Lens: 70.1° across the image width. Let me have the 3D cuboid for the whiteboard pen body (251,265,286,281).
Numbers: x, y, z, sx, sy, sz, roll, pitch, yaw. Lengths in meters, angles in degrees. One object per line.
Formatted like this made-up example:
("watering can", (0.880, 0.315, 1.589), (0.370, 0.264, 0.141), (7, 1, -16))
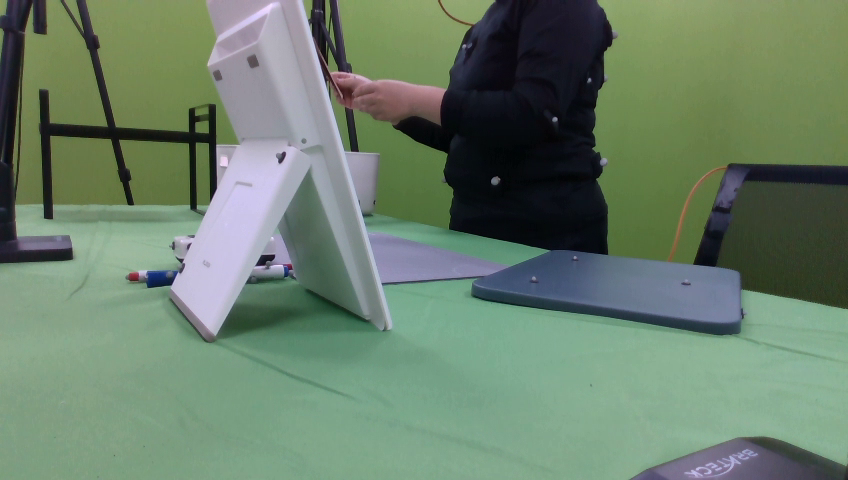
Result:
("whiteboard pen body", (-0.220, 0.039, 0.656), (0.141, 0.017, 0.017), (-2, 9, -31))

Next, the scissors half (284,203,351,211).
("scissors half", (-0.269, -0.081, 1.534), (0.176, 0.013, 0.040), (-6, 9, -24))

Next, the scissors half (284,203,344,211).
("scissors half", (-0.280, -0.083, 1.552), (0.040, 0.013, 0.176), (-1, 6, 45))

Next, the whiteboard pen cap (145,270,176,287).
("whiteboard pen cap", (-0.271, 0.039, 0.627), (0.033, 0.018, 0.018), (-3, 10, -33))

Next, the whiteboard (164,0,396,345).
("whiteboard", (-0.172, -0.053, 0.511), (0.144, 0.305, 0.216), (-23, 19, -26))

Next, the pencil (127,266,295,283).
("pencil", (-0.231, 0.037, 0.691), (0.195, 0.012, 0.012), (-2, 9, -34))

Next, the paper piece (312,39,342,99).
("paper piece", (-0.212, -0.380, 1.337), (0.004, 0.136, 0.135), (-26, 19, 2))

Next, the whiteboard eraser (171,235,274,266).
("whiteboard eraser", (-0.248, 0.014, 0.747), (0.113, 0.042, 0.055), (-1, 9, -32))

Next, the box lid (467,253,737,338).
("box lid", (0.234, 0.054, 0.736), (0.262, 0.015, 0.373), (7, 8, 26))

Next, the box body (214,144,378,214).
("box body", (-0.328, -0.154, 1.543), (0.366, 0.160, 0.253), (-2, 9, -32))

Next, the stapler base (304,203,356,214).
("stapler base", (-0.235, -0.081, 1.510), (0.131, 0.024, 0.041), (2, 9, -35))

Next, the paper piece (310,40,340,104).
("paper piece", (-0.229, -0.373, 1.338), (0.008, 0.138, 0.136), (-22, 20, 17))

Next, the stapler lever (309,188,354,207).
("stapler lever", (-0.231, -0.106, 1.509), (0.119, 0.040, 0.026), (3, 9, -35))
